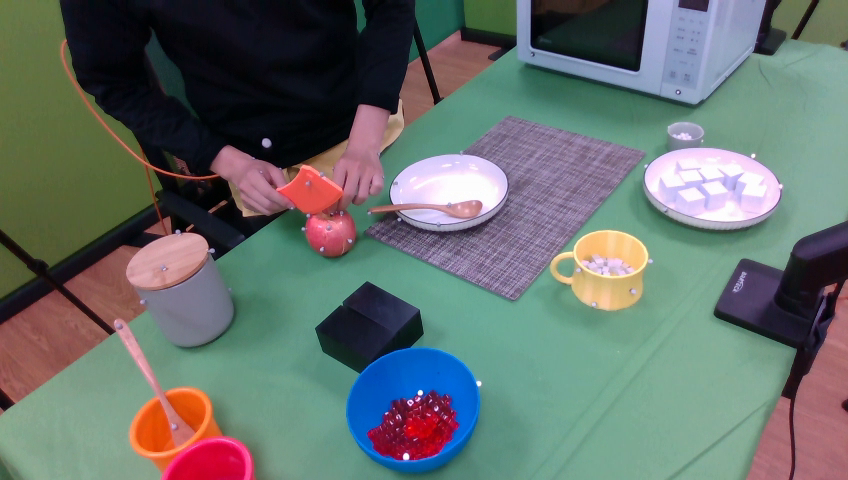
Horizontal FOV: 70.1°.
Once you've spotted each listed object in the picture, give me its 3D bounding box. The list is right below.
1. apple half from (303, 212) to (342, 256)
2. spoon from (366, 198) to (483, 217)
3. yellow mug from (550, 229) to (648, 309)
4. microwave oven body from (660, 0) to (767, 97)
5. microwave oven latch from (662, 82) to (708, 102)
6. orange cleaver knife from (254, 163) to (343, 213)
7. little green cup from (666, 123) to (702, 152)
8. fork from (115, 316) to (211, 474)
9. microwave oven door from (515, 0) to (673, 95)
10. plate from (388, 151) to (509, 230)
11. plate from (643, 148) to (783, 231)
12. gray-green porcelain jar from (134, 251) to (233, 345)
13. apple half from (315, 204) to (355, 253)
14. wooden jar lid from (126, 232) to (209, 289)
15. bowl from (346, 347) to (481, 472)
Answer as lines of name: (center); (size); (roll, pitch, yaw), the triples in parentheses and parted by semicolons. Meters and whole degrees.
apple half: (-0.166, -0.002, 0.953); (0.080, 0.081, 0.033); (21, 42, 29)
spoon: (0.001, -0.056, 0.997); (0.194, 0.022, 0.041); (1, 51, -9)
yellow mug: (0.245, 0.040, 0.857); (0.130, 0.064, 0.099); (1, 42, 11)
microwave oven body: (0.473, -0.517, 1.314); (0.438, 0.261, 0.327); (26, 51, 34)
microwave oven latch: (0.517, -0.298, 1.203); (0.078, 0.029, 0.030); (28, 53, 35)
orange cleaver knife: (-0.194, -0.068, 0.920); (0.210, 0.078, 0.012); (-14, 40, 51)
little green cup: (0.472, -0.183, 1.103); (0.061, 0.039, 0.061); (-5, 40, 5)
fork: (-0.308, 0.179, 0.708); (0.028, 0.018, 0.207); (-30, 89, -23)
microwave oven door: (0.344, -0.458, 1.256); (0.353, 0.245, 0.039); (26, 51, 33)
plate: (0.043, -0.082, 1.042); (0.209, 0.038, 0.208); (-4, 40, 4)
plate: (0.464, -0.079, 0.986); (0.207, 0.039, 0.206); (-4, 40, 4)
gray-green porcelain jar: (-0.334, 0.076, 0.849); (0.106, 0.127, 0.105); (-4, 41, 4)
apple half: (-0.142, -0.023, 0.979); (0.080, 0.075, 0.053); (21, 43, 31)
wooden jar lid: (-0.340, 0.030, 0.808); (0.108, 0.021, 0.108); (-5, 39, 5)
bowl: (-0.008, 0.205, 0.691); (0.151, 0.077, 0.150); (-4, 40, 4)
